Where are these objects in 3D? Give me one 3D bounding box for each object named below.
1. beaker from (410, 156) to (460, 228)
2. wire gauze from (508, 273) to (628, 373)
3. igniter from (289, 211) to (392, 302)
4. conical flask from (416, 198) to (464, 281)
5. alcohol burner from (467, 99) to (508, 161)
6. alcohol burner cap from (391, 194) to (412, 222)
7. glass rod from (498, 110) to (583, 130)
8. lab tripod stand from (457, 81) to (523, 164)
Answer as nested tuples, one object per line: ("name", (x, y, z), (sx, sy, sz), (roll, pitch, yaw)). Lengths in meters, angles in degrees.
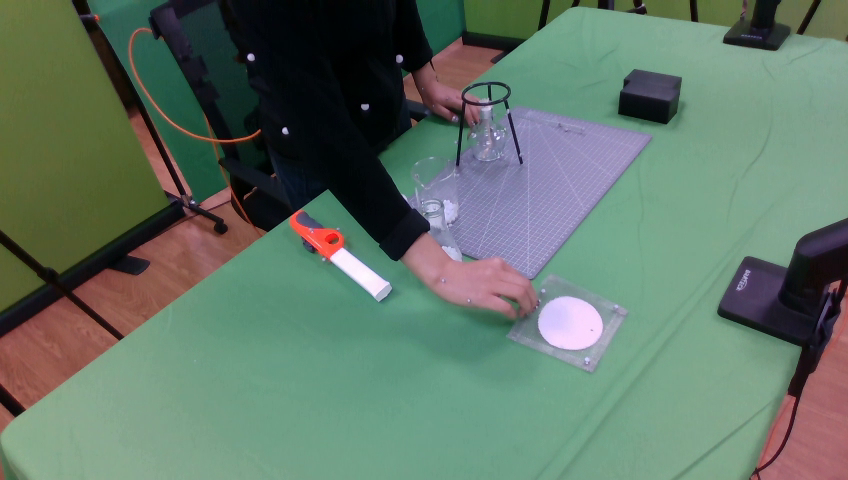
("beaker", (0.020, -0.076, 1.006), (0.074, 0.101, 0.084), (3, 42, 16))
("wire gauze", (0.196, 0.110, 0.818), (0.120, 0.011, 0.125), (26, 55, 24))
("igniter", (-0.146, 0.019, 0.985), (0.057, 0.025, 0.274), (-40, 48, -18))
("conical flask", (0.019, -0.004, 0.907), (0.075, 0.122, 0.075), (-5, 40, 5))
("alcohol burner", (0.119, -0.210, 1.134), (0.078, 0.119, 0.077), (-4, 39, 4))
("alcohol burner cap", (-0.041, -0.057, 1.040), (0.034, 0.048, 0.033), (-6, 40, 5))
("glass rod", (0.233, -0.245, 1.235), (0.198, 0.008, 0.008), (21, 49, 34))
("lab tripod stand", (0.120, -0.219, 1.129), (0.148, 0.132, 0.147), (-7, 39, 6))
